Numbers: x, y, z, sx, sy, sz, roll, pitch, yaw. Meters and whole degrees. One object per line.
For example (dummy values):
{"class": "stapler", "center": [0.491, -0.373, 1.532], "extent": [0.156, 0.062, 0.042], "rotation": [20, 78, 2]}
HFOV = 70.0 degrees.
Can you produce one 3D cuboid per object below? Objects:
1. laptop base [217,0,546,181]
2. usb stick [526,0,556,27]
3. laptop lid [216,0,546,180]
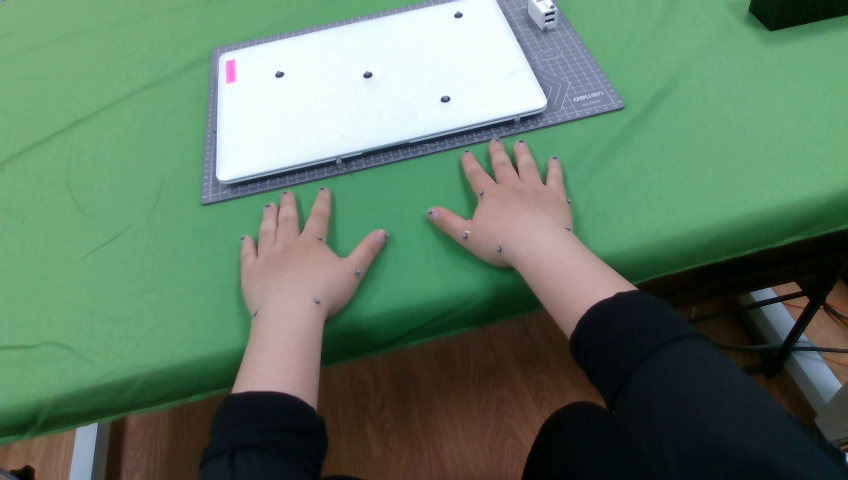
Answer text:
{"class": "laptop base", "center": [-0.062, -0.183, 0.700], "extent": [0.354, 0.023, 0.233], "rotation": [-13, 53, -2]}
{"class": "usb stick", "center": [0.141, -0.289, 0.746], "extent": [0.021, 0.027, 0.058], "rotation": [-17, 47, -4]}
{"class": "laptop lid", "center": [-0.064, -0.188, 0.690], "extent": [0.357, 0.013, 0.239], "rotation": [-12, 52, -1]}
